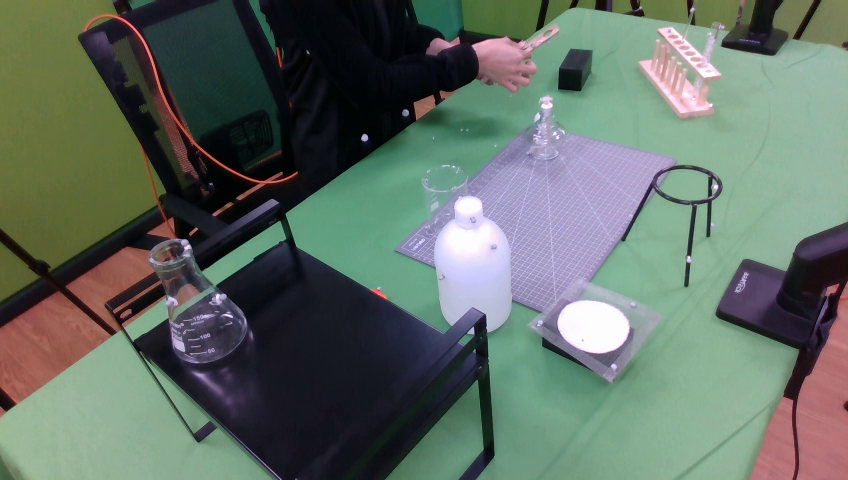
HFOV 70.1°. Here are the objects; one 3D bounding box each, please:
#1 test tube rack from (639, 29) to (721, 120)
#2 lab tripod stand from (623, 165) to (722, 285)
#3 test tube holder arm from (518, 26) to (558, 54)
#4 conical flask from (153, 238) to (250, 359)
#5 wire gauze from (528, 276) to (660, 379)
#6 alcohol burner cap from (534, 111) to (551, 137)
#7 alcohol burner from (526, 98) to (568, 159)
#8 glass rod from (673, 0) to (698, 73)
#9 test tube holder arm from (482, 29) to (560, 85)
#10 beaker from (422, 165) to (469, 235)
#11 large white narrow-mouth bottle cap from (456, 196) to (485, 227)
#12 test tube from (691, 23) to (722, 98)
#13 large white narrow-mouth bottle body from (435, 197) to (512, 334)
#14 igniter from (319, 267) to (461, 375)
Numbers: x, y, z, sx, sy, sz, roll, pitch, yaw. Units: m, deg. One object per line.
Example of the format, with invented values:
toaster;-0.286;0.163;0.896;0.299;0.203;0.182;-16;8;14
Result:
test tube rack;0.527;-0.351;1.262;0.067;0.085;0.241;-8;40;1
lab tripod stand;0.365;-0.030;0.874;0.148;0.132;0.147;-6;41;6
test tube holder arm;0.226;-0.393;1.196;0.087;0.015;0.010;-34;82;14
conical flask;-0.225;0.055;0.597;0.075;0.122;0.075;-5;41;4
wire gauze;0.214;0.103;0.763;0.124;0.011;0.122;30;53;35
alcohol burner cap;0.234;-0.231;1.197;0.034;0.048;0.033;-5;38;4
alcohol burner;0.228;-0.210;1.118;0.078;0.119;0.077;-5;43;5
glass rod;0.537;-0.425;1.244;0.008;0.200;0.008;0;47;0
test tube holder arm;0.192;-0.364;1.207;0.178;0.015;0.013;-33;83;14
beaker;0.041;-0.063;0.986;0.073;0.101;0.084;20;47;29
large white narrow-mouth bottle cap;0.057;-0.036;0.749;0.038;0.024;0.037;-4;40;4
test tube;0.547;-0.345;1.173;0.017;0.151;0.017;0;42;0
large white narrow-mouth bottle body;0.066;0.028;0.805;0.102;0.195;0.101;-4;40;4
igniter;-0.060;0.108;0.862;0.274;0.025;0.057;28;62;34
